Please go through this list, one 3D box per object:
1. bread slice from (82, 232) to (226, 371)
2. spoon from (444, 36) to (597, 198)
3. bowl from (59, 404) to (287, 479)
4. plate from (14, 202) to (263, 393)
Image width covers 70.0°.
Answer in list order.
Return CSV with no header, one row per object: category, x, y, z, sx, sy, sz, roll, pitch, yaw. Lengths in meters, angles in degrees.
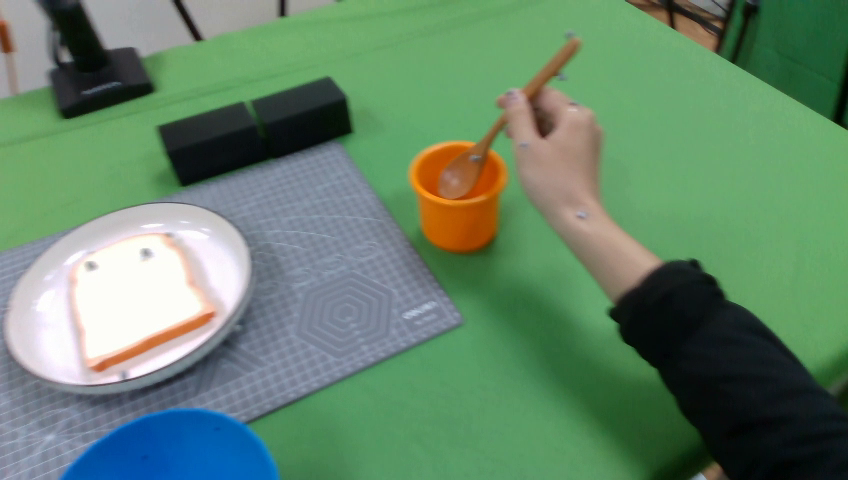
bread slice,-0.254,0.049,0.551,0.107,0.018,0.133,-28,53,-20
spoon,0.076,-0.099,0.518,0.022,0.194,0.041,-1,60,-35
bowl,-0.154,0.190,0.385,0.151,0.077,0.150,-1,47,2
plate,-0.249,0.049,0.547,0.209,0.038,0.207,-1,47,2
